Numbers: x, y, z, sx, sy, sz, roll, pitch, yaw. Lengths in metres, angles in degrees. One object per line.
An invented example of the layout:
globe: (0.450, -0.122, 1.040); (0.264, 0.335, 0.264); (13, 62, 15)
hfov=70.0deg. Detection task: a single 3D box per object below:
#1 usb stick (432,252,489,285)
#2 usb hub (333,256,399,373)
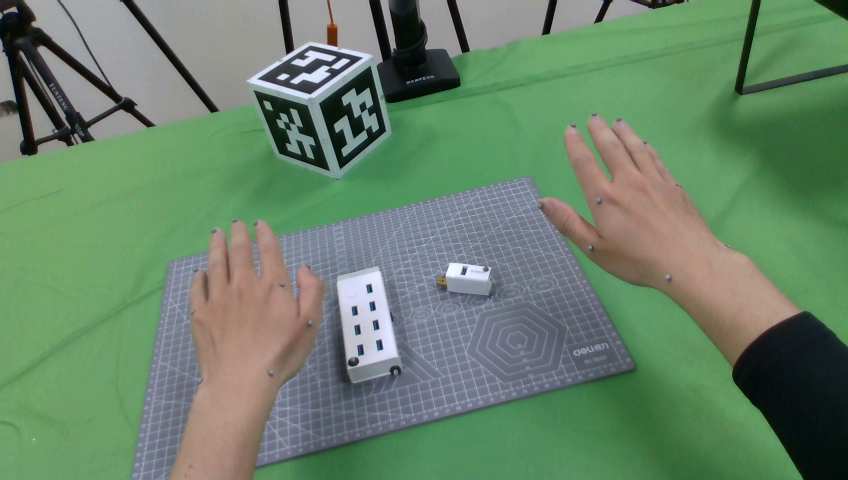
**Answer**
usb stick: (0.036, 0.029, 0.621); (0.059, 0.027, 0.021); (3, 46, 19)
usb hub: (-0.060, 0.070, 0.600); (0.049, 0.025, 0.123); (-14, 43, -2)
